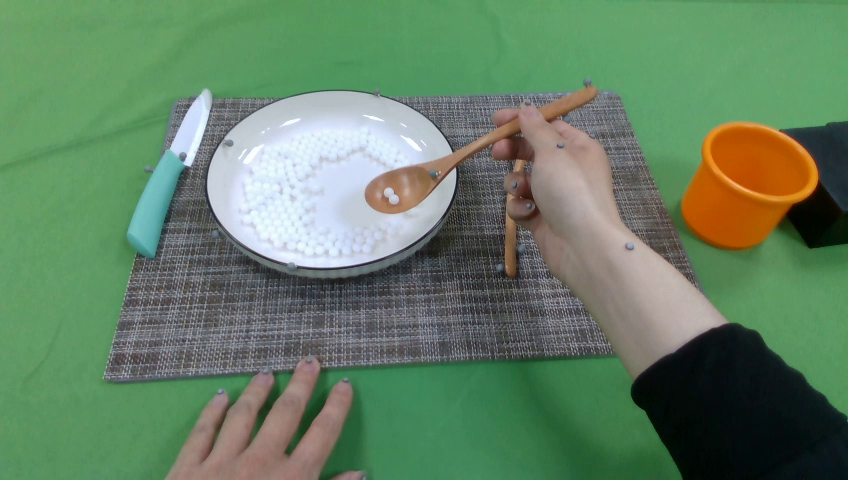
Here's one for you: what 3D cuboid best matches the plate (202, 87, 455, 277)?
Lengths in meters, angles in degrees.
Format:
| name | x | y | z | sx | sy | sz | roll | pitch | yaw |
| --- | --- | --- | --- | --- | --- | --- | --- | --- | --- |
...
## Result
| name | x | y | z | sx | sy | sz | roll | pitch | yaw |
| --- | --- | --- | --- | --- | --- | --- | --- | --- | --- |
| plate | -0.077 | -0.051 | 0.517 | 0.209 | 0.038 | 0.207 | 2 | 52 | -2 |

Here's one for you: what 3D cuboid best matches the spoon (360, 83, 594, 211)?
| name | x | y | z | sx | sy | sz | roll | pitch | yaw |
| --- | --- | --- | --- | --- | --- | --- | --- | --- | --- |
| spoon | 0.040 | -0.072 | 0.461 | 0.193 | 0.022 | 0.041 | -27 | 60 | 9 |

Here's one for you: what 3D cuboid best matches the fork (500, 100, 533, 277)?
| name | x | y | z | sx | sy | sz | roll | pitch | yaw |
| --- | --- | --- | --- | --- | --- | --- | --- | --- | --- |
| fork | 0.081 | -0.053 | 0.540 | 0.018 | 0.028 | 0.205 | -13 | 48 | 34 |

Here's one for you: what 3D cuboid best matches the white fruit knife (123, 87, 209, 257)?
| name | x | y | z | sx | sy | sz | roll | pitch | yaw |
| --- | --- | --- | --- | --- | --- | --- | --- | --- | --- |
| white fruit knife | -0.224 | -0.071 | 0.538 | 0.027 | 0.016 | 0.205 | 23 | 47 | -22 |
